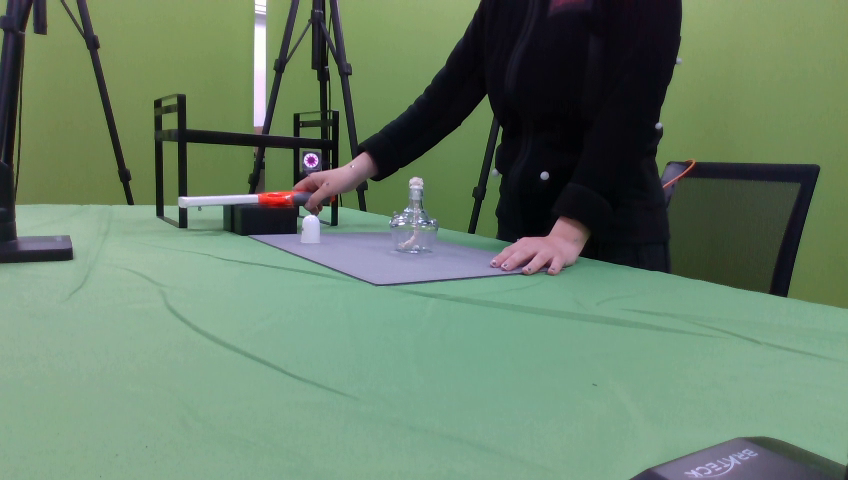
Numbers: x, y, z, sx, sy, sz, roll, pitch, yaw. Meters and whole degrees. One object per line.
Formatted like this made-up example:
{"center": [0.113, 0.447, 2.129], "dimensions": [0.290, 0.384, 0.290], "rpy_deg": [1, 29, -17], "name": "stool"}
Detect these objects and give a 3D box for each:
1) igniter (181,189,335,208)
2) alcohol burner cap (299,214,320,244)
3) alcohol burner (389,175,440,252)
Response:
{"center": [-0.294, -0.076, 1.103], "dimensions": [0.278, 0.025, 0.057], "rpy_deg": [-6, 11, -33], "name": "igniter"}
{"center": [-0.185, -0.018, 0.979], "dimensions": [0.034, 0.048, 0.034], "rpy_deg": [3, 8, 0], "name": "alcohol burner cap"}
{"center": [-0.013, -0.041, 0.929], "dimensions": [0.078, 0.119, 0.078], "rpy_deg": [4, 8, 0], "name": "alcohol burner"}
